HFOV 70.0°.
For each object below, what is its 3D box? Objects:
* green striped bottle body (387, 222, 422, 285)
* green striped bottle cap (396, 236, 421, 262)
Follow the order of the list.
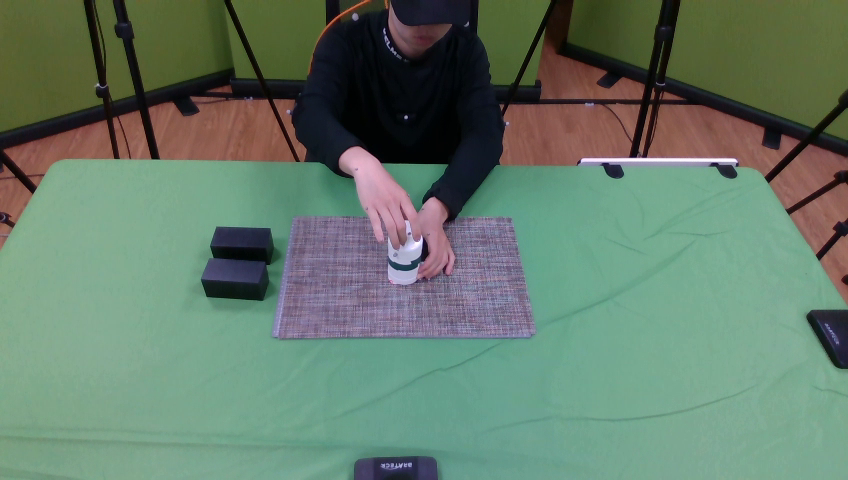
[{"bbox_3d":[-0.036,0.021,1.102,0.063,0.120,0.063,2,46,-2],"label":"green striped bottle body"},{"bbox_3d":[-0.026,0.015,1.017,0.020,0.044,0.044,45,56,9],"label":"green striped bottle cap"}]
